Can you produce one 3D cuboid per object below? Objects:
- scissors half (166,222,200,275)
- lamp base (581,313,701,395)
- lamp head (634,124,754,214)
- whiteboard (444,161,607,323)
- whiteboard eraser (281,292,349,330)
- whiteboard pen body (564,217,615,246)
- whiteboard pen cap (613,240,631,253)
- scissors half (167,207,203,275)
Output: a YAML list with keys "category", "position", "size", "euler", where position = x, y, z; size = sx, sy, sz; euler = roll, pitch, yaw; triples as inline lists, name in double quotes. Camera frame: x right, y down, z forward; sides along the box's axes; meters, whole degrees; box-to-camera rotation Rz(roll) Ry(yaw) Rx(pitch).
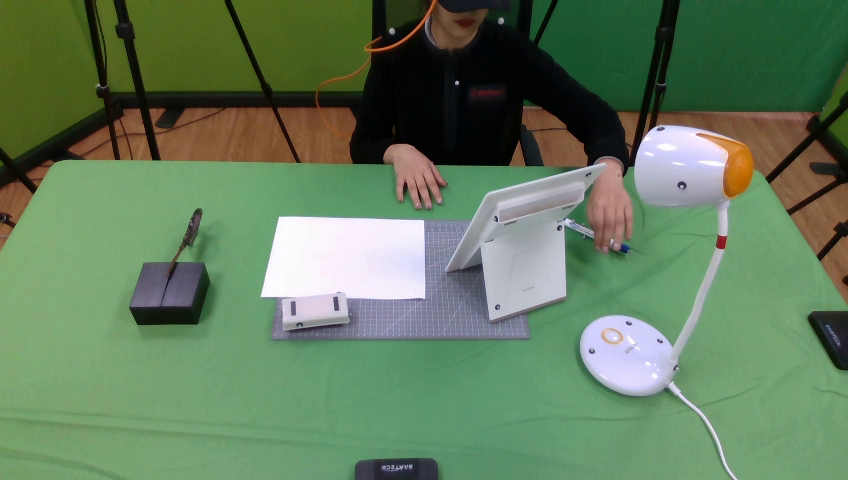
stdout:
- category: "scissors half"
  position: [-0.444, 0.015, 1.116]
  size: [0.013, 0.040, 0.174]
  euler: [17, 27, -10]
- category: "lamp base"
  position: [0.361, 0.144, 0.973]
  size: [0.178, 0.181, 0.160]
  euler: [34, 53, 23]
- category: "lamp head"
  position: [0.351, -0.089, 0.776]
  size: [0.112, 0.113, 0.122]
  euler: [-30, 30, -28]
- category: "whiteboard"
  position: [0.186, 0.025, 1.029]
  size: [0.217, 0.306, 0.143]
  euler: [-14, 68, -18]
- category: "whiteboard eraser"
  position: [-0.189, 0.124, 1.045]
  size: [0.113, 0.042, 0.055]
  euler: [-6, 46, -10]
- category: "whiteboard pen body"
  position: [0.346, -0.013, 1.234]
  size: [0.140, 0.017, 0.017]
  euler: [28, 51, 25]
- category: "whiteboard pen cap"
  position: [0.393, 0.012, 1.207]
  size: [0.033, 0.018, 0.018]
  euler: [26, 50, 28]
- category: "scissors half"
  position: [-0.436, 0.000, 1.104]
  size: [0.013, 0.040, 0.174]
  euler: [21, 44, -14]
